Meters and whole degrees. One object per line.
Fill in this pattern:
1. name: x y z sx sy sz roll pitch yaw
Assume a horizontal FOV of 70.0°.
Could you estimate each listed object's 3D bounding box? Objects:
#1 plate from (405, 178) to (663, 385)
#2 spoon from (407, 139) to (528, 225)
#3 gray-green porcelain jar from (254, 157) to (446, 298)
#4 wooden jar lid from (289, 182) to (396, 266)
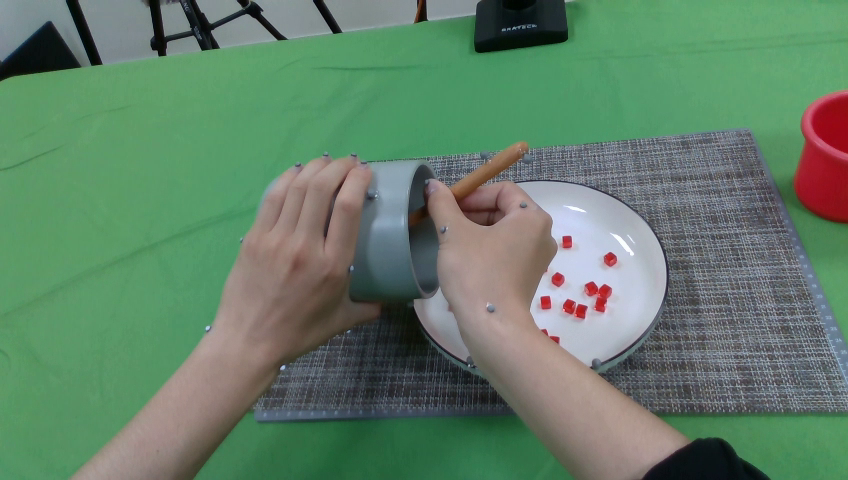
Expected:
1. plate: 0.087 0.032 0.505 0.207 0.039 0.205 -7 47 8
2. spoon: -0.005 -0.022 0.443 0.193 0.022 0.041 -28 50 27
3. gray-green porcelain jar: -0.057 -0.007 0.468 0.126 0.107 0.105 -2 48 16
4. wooden jar lid: -0.079 -0.015 0.602 0.108 0.021 0.107 -6 47 7
